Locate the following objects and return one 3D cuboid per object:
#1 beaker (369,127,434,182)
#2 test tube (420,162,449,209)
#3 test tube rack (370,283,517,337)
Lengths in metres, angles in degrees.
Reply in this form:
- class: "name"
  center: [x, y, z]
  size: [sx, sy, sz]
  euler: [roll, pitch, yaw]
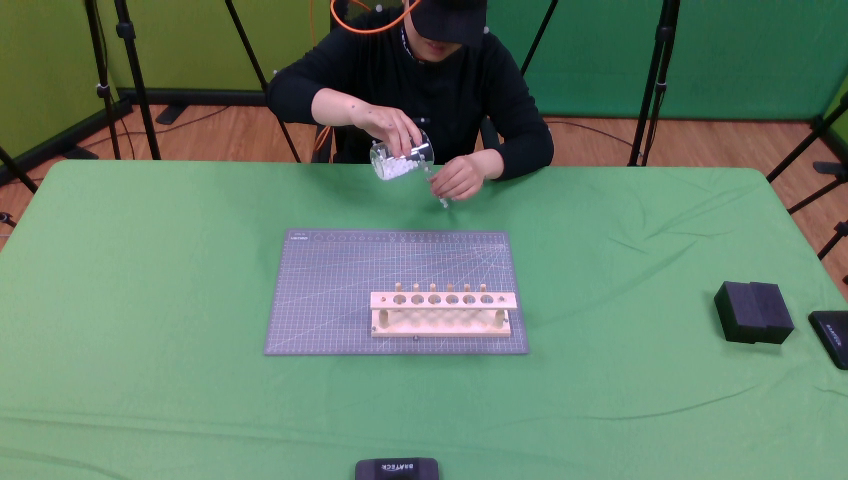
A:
- class: "beaker"
  center: [-0.043, -0.152, 1.105]
  size: [0.100, 0.084, 0.073]
  euler: [-23, 49, -18]
- class: "test tube"
  center: [0.023, -0.106, 1.207]
  size: [0.017, 0.151, 0.017]
  euler: [-10, 57, 16]
- class: "test tube rack"
  center: [0.030, 0.116, 1.041]
  size: [0.242, 0.085, 0.066]
  euler: [1, 46, -4]
